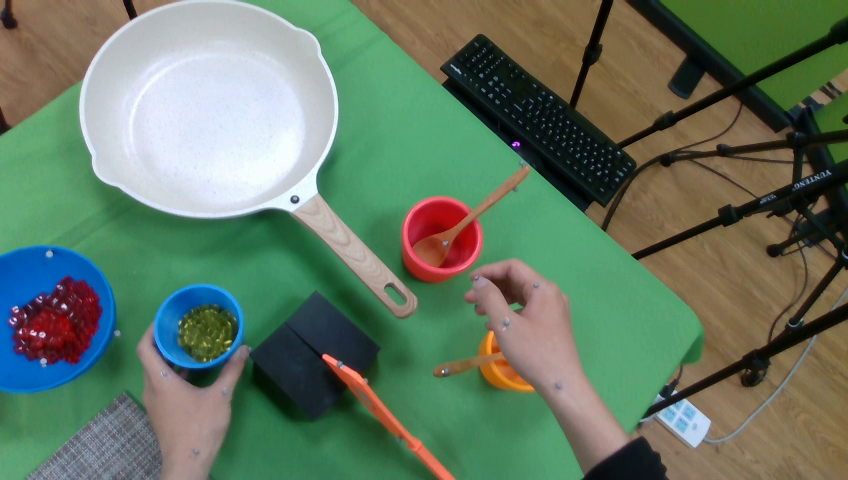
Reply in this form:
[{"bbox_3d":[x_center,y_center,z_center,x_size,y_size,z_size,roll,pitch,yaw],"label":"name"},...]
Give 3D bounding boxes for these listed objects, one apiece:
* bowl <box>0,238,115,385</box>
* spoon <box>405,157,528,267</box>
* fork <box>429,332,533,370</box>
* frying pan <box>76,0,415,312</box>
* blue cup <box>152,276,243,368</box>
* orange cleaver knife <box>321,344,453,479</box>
[{"bbox_3d":[-0.399,0.080,0.641,0.152,0.077,0.150,3,73,-10],"label":"bowl"},{"bbox_3d":[0.050,-0.032,0.724,0.194,0.022,0.041,-41,80,25],"label":"spoon"},{"bbox_3d":[0.069,0.124,0.676,0.209,0.018,0.028,3,65,-56],"label":"fork"},{"bbox_3d":[-0.186,-0.091,0.719,0.306,0.103,0.485,-40,76,-18],"label":"frying pan"},{"bbox_3d":[-0.236,0.091,0.656,0.093,0.100,0.092,3,75,-9],"label":"blue cup"},{"bbox_3d":[-0.040,0.192,0.671,0.012,0.076,0.213,-45,114,-20],"label":"orange cleaver knife"}]
